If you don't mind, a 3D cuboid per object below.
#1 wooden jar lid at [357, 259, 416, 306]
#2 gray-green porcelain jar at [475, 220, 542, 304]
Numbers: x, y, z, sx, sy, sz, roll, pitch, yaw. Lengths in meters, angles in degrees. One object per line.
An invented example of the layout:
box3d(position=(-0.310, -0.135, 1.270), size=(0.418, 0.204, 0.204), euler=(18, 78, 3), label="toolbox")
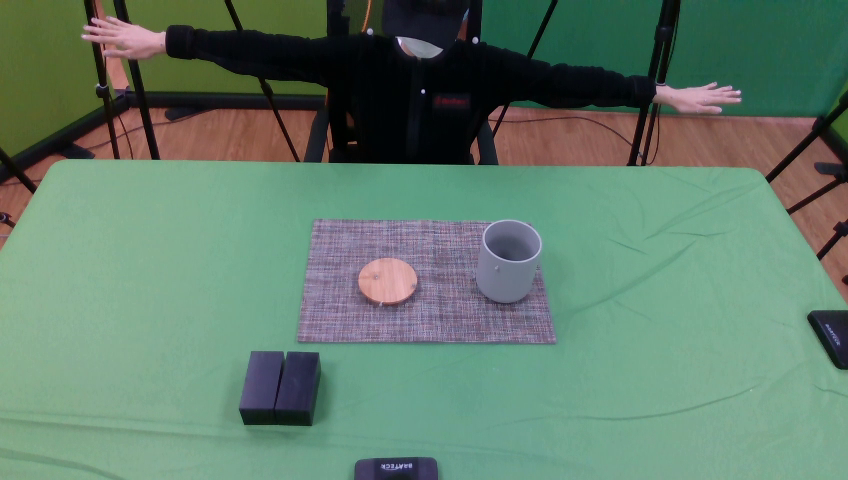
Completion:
box3d(position=(-0.069, 0.079, 1.113), size=(0.108, 0.021, 0.107), euler=(3, 47, -3), label="wooden jar lid")
box3d(position=(0.148, 0.044, 1.090), size=(0.106, 0.127, 0.105), euler=(2, 46, -2), label="gray-green porcelain jar")
